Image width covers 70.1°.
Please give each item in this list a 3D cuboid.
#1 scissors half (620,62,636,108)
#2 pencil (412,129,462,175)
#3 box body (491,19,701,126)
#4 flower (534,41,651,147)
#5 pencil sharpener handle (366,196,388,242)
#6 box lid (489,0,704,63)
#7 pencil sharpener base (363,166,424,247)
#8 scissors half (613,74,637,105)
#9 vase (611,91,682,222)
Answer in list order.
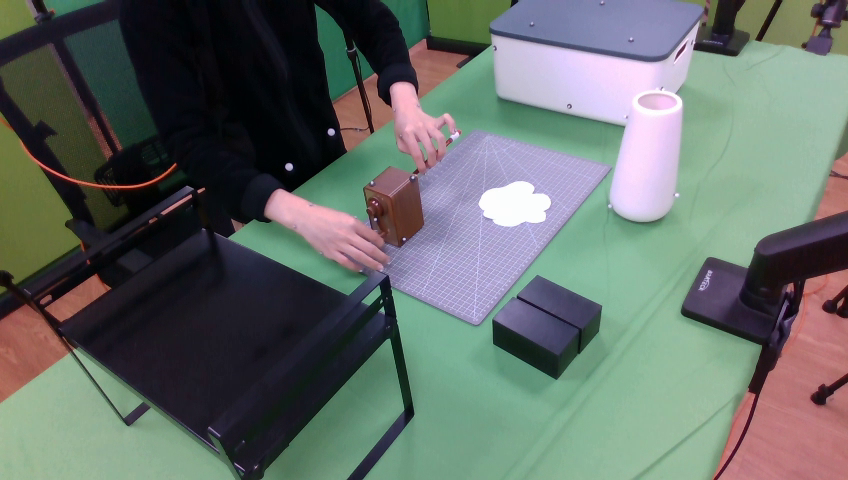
[{"bbox_3d":[0.434,-0.340,1.298,0.013,0.040,0.174,25,42,-11],"label":"scissors half"},{"bbox_3d":[0.009,-0.136,1.017,0.012,0.012,0.194,21,50,29],"label":"pencil"},{"bbox_3d":[0.352,-0.384,1.268,0.361,0.161,0.255,21,48,29],"label":"box body"},{"bbox_3d":[0.364,-0.319,1.318,0.038,0.044,0.359,-4,48,-50],"label":"flower"},{"bbox_3d":[-0.077,-0.031,0.933,0.035,0.068,0.031,5,39,43],"label":"pencil sharpener handle"},{"bbox_3d":[0.345,-0.441,1.217,0.369,0.015,0.264,21,49,29],"label":"box lid"},{"bbox_3d":[-0.049,-0.052,0.973,0.061,0.107,0.077,22,49,30],"label":"pencil sharpener base"},{"bbox_3d":[0.427,-0.330,1.306,0.013,0.040,0.174,31,31,-14],"label":"scissors half"},{"bbox_3d":[0.348,-0.125,0.935,0.098,0.201,0.097,-3,40,3],"label":"vase"}]
